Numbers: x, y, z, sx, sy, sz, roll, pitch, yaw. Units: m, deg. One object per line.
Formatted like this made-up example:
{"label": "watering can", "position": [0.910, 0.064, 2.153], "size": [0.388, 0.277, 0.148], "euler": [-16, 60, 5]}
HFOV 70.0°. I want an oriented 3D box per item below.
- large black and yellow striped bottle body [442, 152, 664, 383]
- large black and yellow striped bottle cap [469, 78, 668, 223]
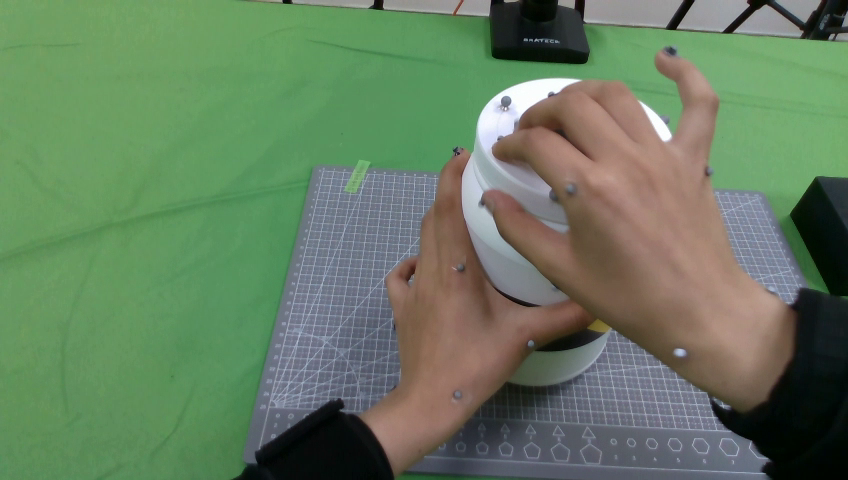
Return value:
{"label": "large black and yellow striped bottle body", "position": [0.082, 0.001, 0.422], "size": [0.131, 0.185, 0.129], "euler": [2, 49, -2]}
{"label": "large black and yellow striped bottle cap", "position": [0.084, -0.057, 0.357], "size": [0.115, 0.019, 0.114], "euler": [3, 49, -3]}
